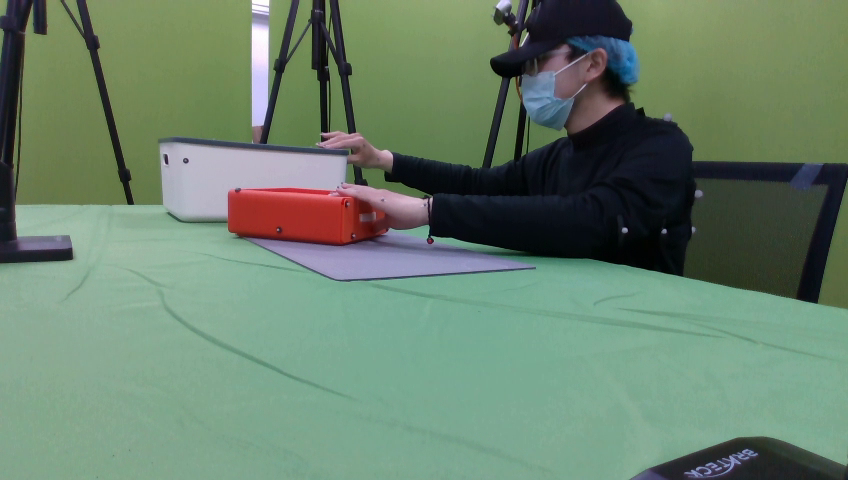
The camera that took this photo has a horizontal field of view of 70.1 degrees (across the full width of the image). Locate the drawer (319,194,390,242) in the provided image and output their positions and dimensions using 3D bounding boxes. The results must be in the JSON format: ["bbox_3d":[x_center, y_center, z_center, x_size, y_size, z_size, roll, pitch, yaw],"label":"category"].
[{"bbox_3d":[-0.189,-0.047,1.060,0.211,0.073,0.195,4,8,18],"label":"drawer"}]

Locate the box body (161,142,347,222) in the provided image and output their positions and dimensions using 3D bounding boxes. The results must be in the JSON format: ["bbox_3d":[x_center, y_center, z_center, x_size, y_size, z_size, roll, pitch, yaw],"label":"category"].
[{"bbox_3d":[-0.380,-0.132,1.352,0.366,0.160,0.253,-2,8,-30],"label":"box body"}]

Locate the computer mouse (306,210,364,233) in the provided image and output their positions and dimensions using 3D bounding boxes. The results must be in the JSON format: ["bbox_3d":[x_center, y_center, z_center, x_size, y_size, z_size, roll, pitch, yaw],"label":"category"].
[{"bbox_3d":[-0.154,-0.032,1.052,0.062,0.041,0.117,1,0,18],"label":"computer mouse"}]

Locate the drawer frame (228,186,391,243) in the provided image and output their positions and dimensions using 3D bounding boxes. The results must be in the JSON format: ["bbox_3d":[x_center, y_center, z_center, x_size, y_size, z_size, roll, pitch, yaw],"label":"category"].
[{"bbox_3d":[-0.193,-0.050,1.060,0.213,0.082,0.202,4,8,17],"label":"drawer frame"}]

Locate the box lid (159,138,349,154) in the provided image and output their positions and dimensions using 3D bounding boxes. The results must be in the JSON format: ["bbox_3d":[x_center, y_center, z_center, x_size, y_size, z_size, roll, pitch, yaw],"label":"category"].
[{"bbox_3d":[-0.376,-0.206,1.344,0.373,0.015,0.262,-1,8,-30],"label":"box lid"}]
